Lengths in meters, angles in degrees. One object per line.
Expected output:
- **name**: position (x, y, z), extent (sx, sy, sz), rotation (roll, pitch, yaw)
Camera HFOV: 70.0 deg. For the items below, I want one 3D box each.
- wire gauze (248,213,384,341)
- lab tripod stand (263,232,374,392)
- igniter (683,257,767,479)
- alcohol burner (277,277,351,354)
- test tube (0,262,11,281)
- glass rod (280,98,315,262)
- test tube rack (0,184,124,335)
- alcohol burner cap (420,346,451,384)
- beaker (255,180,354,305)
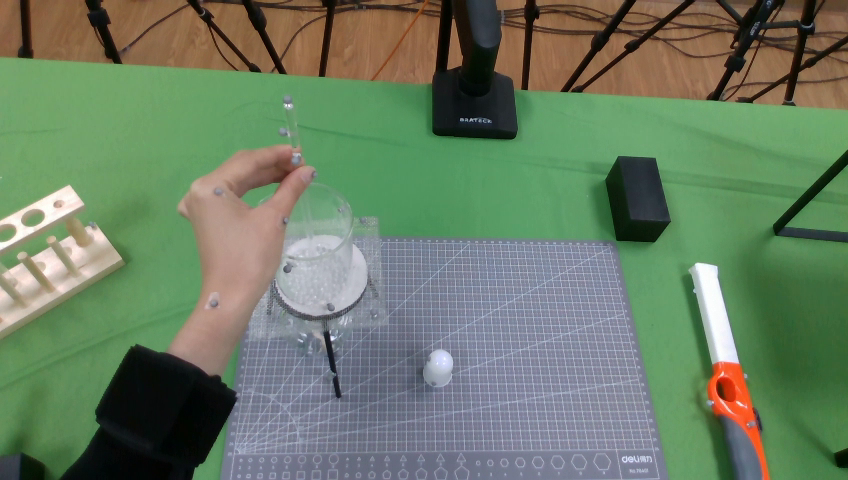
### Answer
- **wire gauze**: position (-0.102, 0.029, 0.566), extent (0.121, 0.011, 0.124), rotation (-4, 63, -6)
- **lab tripod stand**: position (-0.104, 0.067, 0.620), extent (0.148, 0.132, 0.147), rotation (3, 59, -5)
- **igniter**: position (0.335, 0.144, 0.682), extent (0.057, 0.025, 0.274), rotation (9, 58, -12)
- **alcohol burner**: position (-0.114, 0.071, 0.627), extent (0.078, 0.120, 0.077), rotation (4, 57, -6)
- **test tube**: position (-0.449, -0.001, 0.599), extent (0.017, 0.151, 0.017), rotation (3, 54, -4)
- **glass rod**: position (-0.099, -0.036, 0.483), extent (0.008, 0.201, 0.008), rotation (2, 56, -3)
- **test tube rack**: position (-0.455, 0.047, 0.627), extent (0.242, 0.086, 0.066), rotation (-36, 68, -24)
- **alcohol burner cap**: position (0.013, 0.132, 0.646), extent (0.034, 0.048, 0.033), rotation (2, 59, -3)
- **beaker**: position (-0.102, 0.006, 0.523), extent (0.084, 0.101, 0.073), rotation (23, 60, 8)
